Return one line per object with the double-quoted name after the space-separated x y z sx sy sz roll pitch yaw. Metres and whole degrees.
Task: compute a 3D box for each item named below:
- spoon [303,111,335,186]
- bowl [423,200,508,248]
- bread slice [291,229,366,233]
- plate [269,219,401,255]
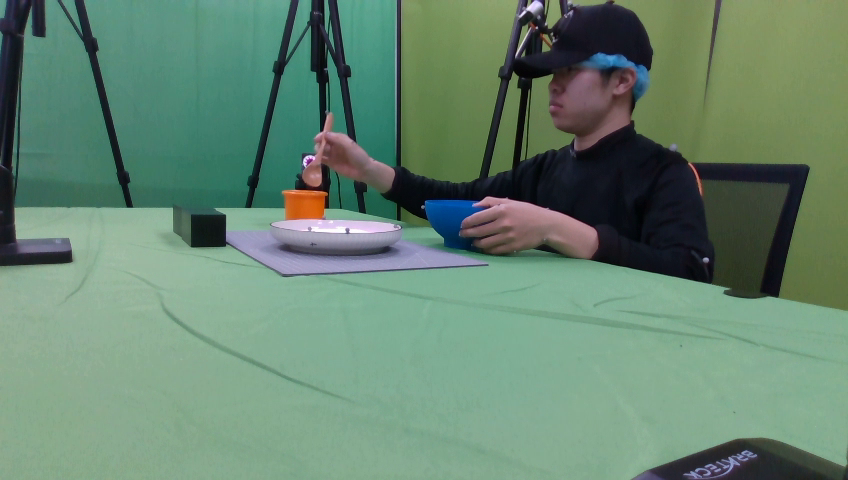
-0.209 -0.192 1.247 0.042 0.193 0.021 26 -30 -24 "spoon"
0.072 -0.028 1.065 0.151 0.077 0.151 2 7 0 "bowl"
-0.143 -0.003 0.953 0.135 0.018 0.106 -1 8 -37 "bread slice"
-0.140 -0.006 0.958 0.209 0.038 0.209 3 7 0 "plate"
